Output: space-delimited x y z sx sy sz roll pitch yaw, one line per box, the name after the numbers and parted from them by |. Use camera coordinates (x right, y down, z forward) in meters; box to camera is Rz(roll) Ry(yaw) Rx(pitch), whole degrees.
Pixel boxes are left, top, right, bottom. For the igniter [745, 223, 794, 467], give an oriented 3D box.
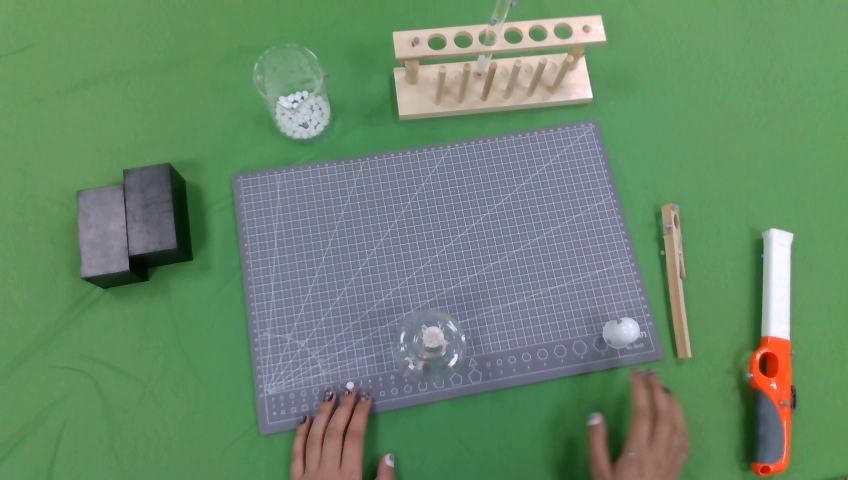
0.389 0.113 0.681 0.057 0.025 0.275 13 74 -9 | igniter

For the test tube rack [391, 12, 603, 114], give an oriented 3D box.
0.084 -0.210 0.725 0.242 0.085 0.066 -6 75 -4 | test tube rack

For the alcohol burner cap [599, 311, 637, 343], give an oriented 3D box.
0.216 0.095 0.667 0.034 0.048 0.033 1 73 -2 | alcohol burner cap

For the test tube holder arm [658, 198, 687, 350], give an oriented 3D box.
0.287 0.038 0.700 0.013 0.015 0.177 11 73 -35 | test tube holder arm

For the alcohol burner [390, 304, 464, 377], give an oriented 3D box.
0.005 0.100 0.619 0.078 0.119 0.077 1 73 -3 | alcohol burner

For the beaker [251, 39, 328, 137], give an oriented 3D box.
-0.149 -0.167 0.695 0.074 0.100 0.083 -7 75 -4 | beaker

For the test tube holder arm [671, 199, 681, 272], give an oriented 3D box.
0.292 -0.005 0.715 0.010 0.015 0.087 13 71 -35 | test tube holder arm

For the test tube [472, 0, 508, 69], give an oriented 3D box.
0.074 -0.235 0.680 0.017 0.150 0.017 1 75 -5 | test tube
